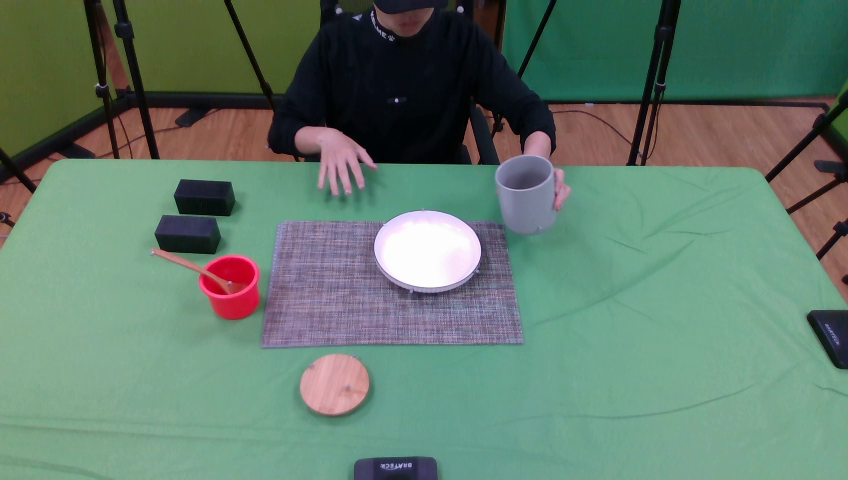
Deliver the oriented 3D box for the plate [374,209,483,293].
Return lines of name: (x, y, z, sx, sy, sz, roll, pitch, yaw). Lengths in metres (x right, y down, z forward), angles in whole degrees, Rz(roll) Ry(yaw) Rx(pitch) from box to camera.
plate: (0.008, 0.024, 1.158, 0.208, 0.039, 0.206, 2, 46, -2)

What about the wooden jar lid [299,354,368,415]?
wooden jar lid: (-0.143, 0.232, 0.964, 0.108, 0.021, 0.107, 2, 45, -2)

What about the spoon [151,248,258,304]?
spoon: (-0.369, 0.059, 1.028, 0.195, 0.021, 0.041, 36, 35, -32)

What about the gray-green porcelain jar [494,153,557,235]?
gray-green porcelain jar: (0.192, -0.081, 1.132, 0.106, 0.127, 0.105, -10, 44, 10)
